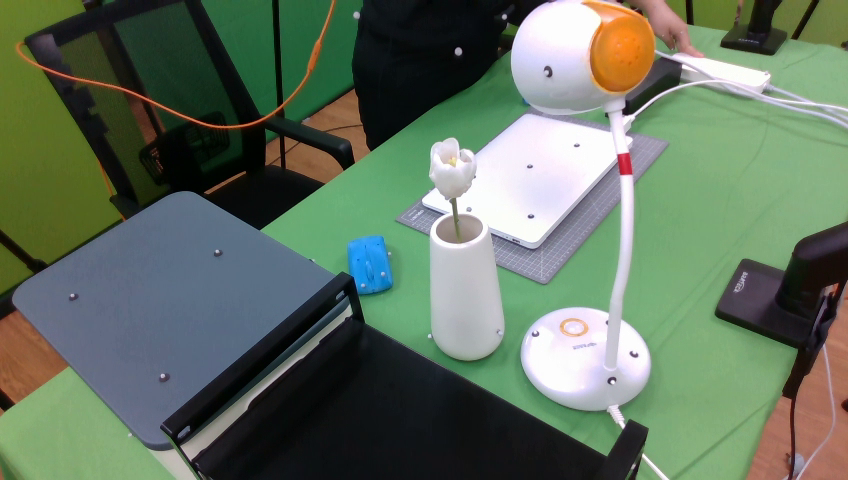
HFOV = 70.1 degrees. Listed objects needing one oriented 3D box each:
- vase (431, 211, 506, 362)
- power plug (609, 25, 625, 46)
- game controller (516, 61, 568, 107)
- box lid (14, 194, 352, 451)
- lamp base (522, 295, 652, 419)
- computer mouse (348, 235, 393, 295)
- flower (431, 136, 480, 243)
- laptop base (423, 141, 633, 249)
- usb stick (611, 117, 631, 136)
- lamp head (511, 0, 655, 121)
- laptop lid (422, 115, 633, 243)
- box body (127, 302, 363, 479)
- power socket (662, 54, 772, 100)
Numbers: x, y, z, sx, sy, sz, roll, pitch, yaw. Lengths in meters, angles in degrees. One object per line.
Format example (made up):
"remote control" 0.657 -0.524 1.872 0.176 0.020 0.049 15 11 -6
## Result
"vase" 0.054 0.061 0.757 0.098 0.201 0.097 -3 40 3
"power plug" 0.440 -0.455 1.377 0.035 0.053 0.072 -3 68 22
"game controller" 0.260 -0.352 1.336 0.097 0.052 0.154 -3 41 2
"box lid" -0.291 0.067 0.717 0.368 0.015 0.264 25 50 33
"lamp base" 0.201 0.095 0.710 0.161 0.181 0.177 -16 43 -10
"computer mouse" -0.085 0.034 0.936 0.063 0.041 0.116 -8 45 -5
"flower" 0.042 0.011 0.691 0.044 0.363 0.038 16 62 14
"laptop base" 0.193 -0.117 1.087 0.233 0.023 0.355 21 48 34
"usb stick" 0.370 -0.209 1.148 0.021 0.027 0.059 22 53 35
"lamp head" 0.156 -0.168 0.563 0.113 0.113 0.122 -18 23 -12
"laptop lid" 0.190 -0.127 1.081 0.239 0.013 0.358 23 49 35
"box body" -0.284 0.123 0.766 0.361 0.161 0.255 25 49 33
"power socket" 0.615 -0.349 1.284 0.225 0.033 0.072 30 53 35
